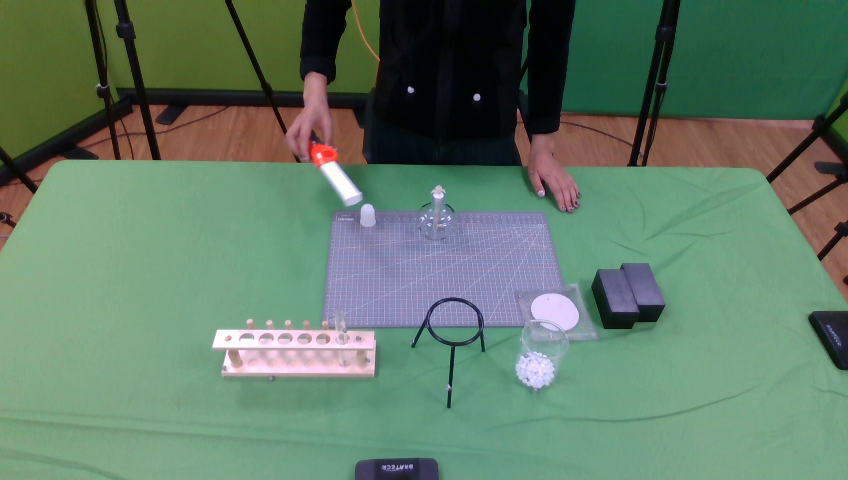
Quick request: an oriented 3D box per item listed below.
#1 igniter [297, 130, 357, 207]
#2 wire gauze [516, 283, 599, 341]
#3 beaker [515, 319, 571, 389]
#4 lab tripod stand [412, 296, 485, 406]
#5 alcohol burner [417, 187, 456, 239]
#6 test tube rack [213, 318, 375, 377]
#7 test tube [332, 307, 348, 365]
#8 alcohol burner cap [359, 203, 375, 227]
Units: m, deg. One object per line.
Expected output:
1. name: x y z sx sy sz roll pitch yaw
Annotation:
1. igniter: -0.195 -0.146 1.177 0.057 0.025 0.274 -20 43 -18
2. wire gauze: 0.240 0.131 1.094 0.125 0.011 0.120 -3 47 -8
3. beaker: 0.186 0.186 0.980 0.074 0.101 0.083 -23 51 -24
4. lab tripod stand: 0.045 0.168 0.963 0.148 0.132 0.147 3 47 -3
5. alcohol burner: 0.025 -0.059 1.189 0.078 0.120 0.077 1 48 -1
6. test tube rack: -0.202 0.170 0.977 0.242 0.085 0.066 1 46 -3
7. test tube: -0.128 0.151 0.931 0.017 0.151 0.017 1 50 -2
8. alcohol burner cap: -0.115 -0.053 1.224 0.034 0.048 0.033 3 47 -3
